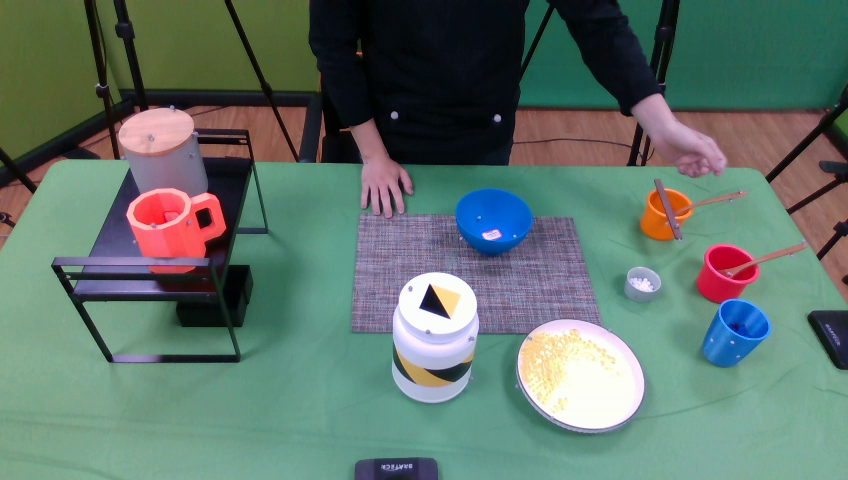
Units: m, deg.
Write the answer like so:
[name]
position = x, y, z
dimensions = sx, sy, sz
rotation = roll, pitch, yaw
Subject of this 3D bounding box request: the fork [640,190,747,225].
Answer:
[fork]
position = 0.533, -0.064, 1.211
dimensions = 0.207, 0.019, 0.028
rotation = -22, 28, 39

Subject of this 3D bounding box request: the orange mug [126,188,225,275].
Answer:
[orange mug]
position = -0.357, -0.020, 0.885
dimensions = 0.126, 0.101, 0.083
rotation = -29, 54, -23

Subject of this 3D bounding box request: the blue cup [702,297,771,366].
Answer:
[blue cup]
position = 0.519, 0.162, 1.025
dimensions = 0.093, 0.101, 0.092
rotation = 3, 45, -3

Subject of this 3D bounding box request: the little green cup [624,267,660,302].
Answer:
[little green cup]
position = 0.405, 0.084, 1.135
dimensions = 0.061, 0.039, 0.061
rotation = 3, 45, -3

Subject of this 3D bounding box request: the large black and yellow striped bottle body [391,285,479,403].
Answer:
[large black and yellow striped bottle body]
position = 0.015, 0.153, 0.938
dimensions = 0.131, 0.185, 0.130
rotation = 2, 46, -2

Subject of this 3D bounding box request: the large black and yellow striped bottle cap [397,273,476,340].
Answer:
[large black and yellow striped bottle cap]
position = 0.018, 0.094, 0.878
dimensions = 0.115, 0.019, 0.114
rotation = 3, 46, -3

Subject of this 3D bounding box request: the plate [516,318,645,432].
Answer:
[plate]
position = 0.253, 0.221, 0.992
dimensions = 0.209, 0.038, 0.208
rotation = 2, 46, -2

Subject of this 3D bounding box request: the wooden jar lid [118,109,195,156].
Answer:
[wooden jar lid]
position = -0.400, -0.159, 0.910
dimensions = 0.108, 0.021, 0.107
rotation = 2, 47, -2

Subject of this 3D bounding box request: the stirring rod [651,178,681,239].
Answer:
[stirring rod]
position = 0.480, -0.065, 1.204
dimensions = 0.014, 0.006, 0.175
rotation = 3, 46, -3

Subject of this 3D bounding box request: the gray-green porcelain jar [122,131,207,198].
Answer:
[gray-green porcelain jar]
position = -0.404, -0.115, 0.955
dimensions = 0.106, 0.127, 0.105
rotation = 3, 46, -3

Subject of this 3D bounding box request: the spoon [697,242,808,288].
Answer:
[spoon]
position = 0.602, 0.045, 1.116
dimensions = 0.194, 0.022, 0.041
rotation = -29, 34, 30

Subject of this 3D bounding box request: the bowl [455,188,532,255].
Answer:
[bowl]
position = 0.131, -0.025, 1.186
dimensions = 0.151, 0.077, 0.150
rotation = 3, 45, -2
